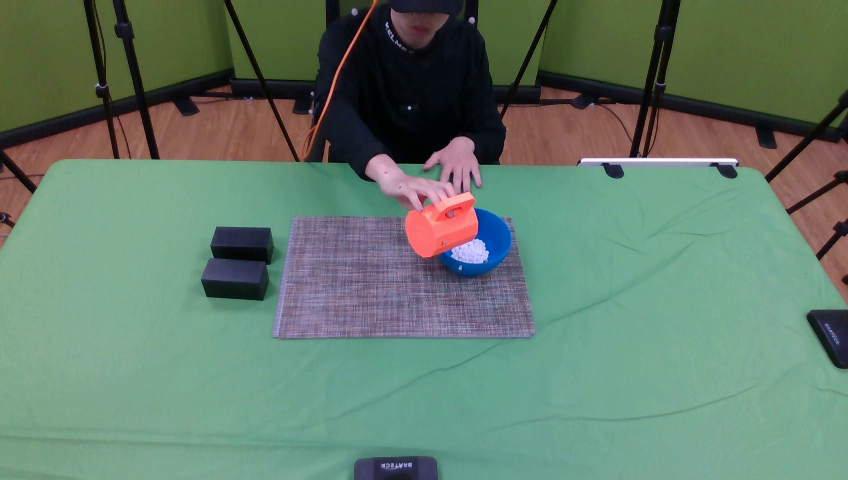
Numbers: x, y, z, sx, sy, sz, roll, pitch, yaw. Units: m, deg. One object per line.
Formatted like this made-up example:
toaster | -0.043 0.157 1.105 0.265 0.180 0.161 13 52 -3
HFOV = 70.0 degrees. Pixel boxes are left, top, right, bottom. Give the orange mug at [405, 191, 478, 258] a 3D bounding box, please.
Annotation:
orange mug | 0.036 -0.034 1.038 0.101 0.126 0.083 -18 65 -37

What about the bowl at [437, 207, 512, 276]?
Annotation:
bowl | 0.087 0.016 1.146 0.151 0.077 0.150 2 46 -2
